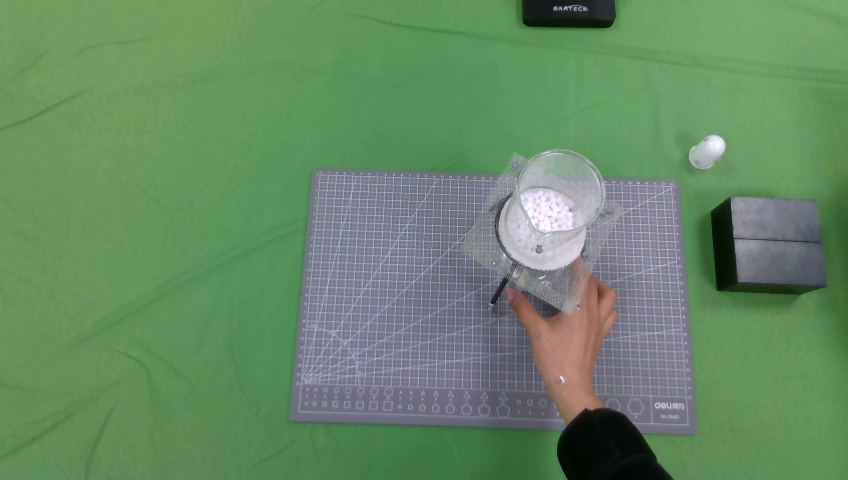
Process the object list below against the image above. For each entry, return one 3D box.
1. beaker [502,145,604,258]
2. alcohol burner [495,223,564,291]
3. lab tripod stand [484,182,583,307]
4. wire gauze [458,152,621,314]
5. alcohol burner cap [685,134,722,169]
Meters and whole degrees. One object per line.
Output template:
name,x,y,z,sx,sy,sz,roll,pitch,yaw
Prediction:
beaker,0.109,-0.026,0.543,0.074,0.101,0.083,26,76,7
alcohol burner,0.118,0.015,0.661,0.078,0.119,0.077,1,76,-2
lab tripod stand,0.115,0.001,0.654,0.148,0.132,0.147,1,73,-2
wire gauze,0.113,-0.011,0.589,0.125,0.011,0.121,30,78,5
alcohol burner cap,0.342,-0.109,0.736,0.034,0.048,0.033,0,74,1
